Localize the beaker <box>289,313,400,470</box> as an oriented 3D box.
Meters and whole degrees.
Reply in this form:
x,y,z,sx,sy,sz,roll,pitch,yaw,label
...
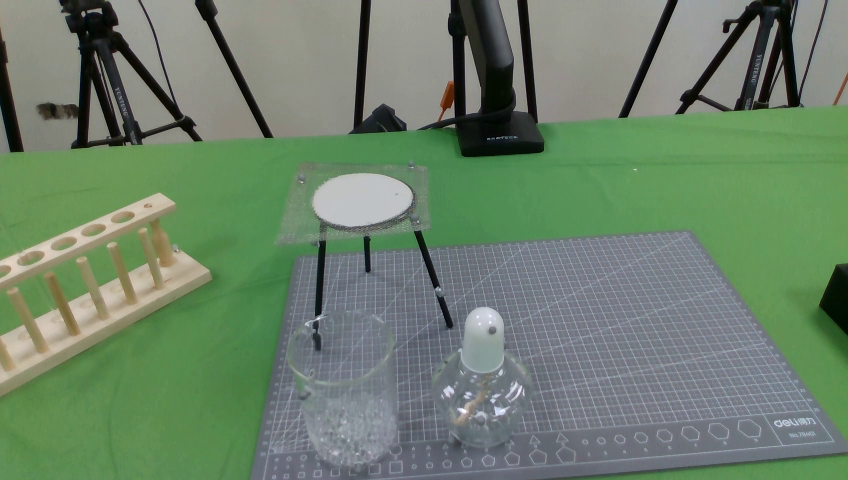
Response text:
x,y,z,sx,sy,sz,roll,pitch,yaw,label
-0.057,0.114,0.452,0.083,0.101,0.074,25,43,34,beaker

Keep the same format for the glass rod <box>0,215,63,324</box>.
x,y,z,sx,sy,sz,roll,pitch,yaw,label
-0.368,-0.002,0.537,0.008,0.201,0.008,-6,32,4,glass rod

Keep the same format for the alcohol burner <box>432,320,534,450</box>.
x,y,z,sx,sy,sz,roll,pitch,yaw,label
0.044,0.100,0.452,0.078,0.120,0.077,-1,37,1,alcohol burner

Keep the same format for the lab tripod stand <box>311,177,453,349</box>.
x,y,z,sx,sy,sz,roll,pitch,yaw,label
-0.044,0.020,0.556,0.148,0.132,0.147,0,34,1,lab tripod stand

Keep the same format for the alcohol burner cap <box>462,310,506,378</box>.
x,y,z,sx,sy,sz,roll,pitch,yaw,label
0.044,0.071,0.432,0.034,0.048,0.033,0,37,0,alcohol burner cap

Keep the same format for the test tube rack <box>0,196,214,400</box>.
x,y,z,sx,sy,sz,roll,pitch,yaw,label
-0.331,0.053,0.573,0.066,0.086,0.242,26,44,35,test tube rack

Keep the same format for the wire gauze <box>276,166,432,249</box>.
x,y,z,sx,sy,sz,roll,pitch,yaw,label
-0.055,-0.033,0.515,0.121,0.011,0.124,-2,35,-1,wire gauze
